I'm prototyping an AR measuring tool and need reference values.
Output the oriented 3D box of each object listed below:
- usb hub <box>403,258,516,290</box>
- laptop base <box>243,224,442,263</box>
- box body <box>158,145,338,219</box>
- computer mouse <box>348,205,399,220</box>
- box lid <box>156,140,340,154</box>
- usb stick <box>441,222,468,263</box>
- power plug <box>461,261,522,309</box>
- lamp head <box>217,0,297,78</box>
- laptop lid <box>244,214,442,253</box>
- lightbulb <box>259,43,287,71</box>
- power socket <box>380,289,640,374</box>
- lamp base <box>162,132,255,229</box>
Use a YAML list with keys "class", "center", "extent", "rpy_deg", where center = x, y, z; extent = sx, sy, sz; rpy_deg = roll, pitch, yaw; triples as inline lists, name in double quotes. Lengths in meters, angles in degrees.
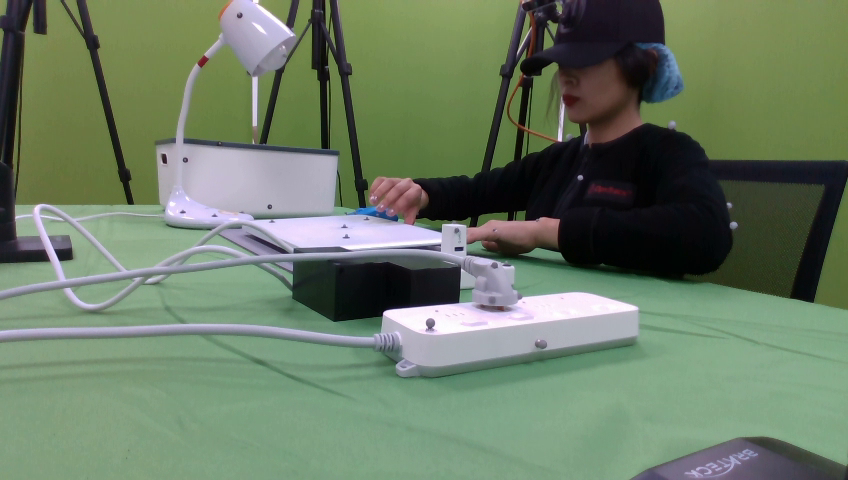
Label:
- class: "usb hub"
  center: [0.042, 0.038, 0.690]
  extent: [0.126, 0.025, 0.049]
  rpy_deg: [-2, 9, -30]
- class: "laptop base"
  center: [-0.126, 0.003, 0.946]
  extent: [0.237, 0.023, 0.352]
  rpy_deg: [1, 7, -31]
- class: "box body"
  center: [-0.410, -0.139, 1.414]
  extent: [0.366, 0.160, 0.253]
  rpy_deg: [-3, 8, -33]
- class: "computer mouse"
  center: [-0.114, -0.055, 1.337]
  extent: [0.117, 0.041, 0.062]
  rpy_deg: [-5, 11, -19]
- class: "box lid"
  center: [-0.409, -0.213, 1.404]
  extent: [0.373, 0.015, 0.262]
  rpy_deg: [-2, 8, -32]
- class: "usb stick"
  center: [0.034, 0.009, 0.685]
  extent: [0.021, 0.059, 0.027]
  rpy_deg: [-3, 10, -30]
- class: "power plug"
  center: [0.043, 0.043, 0.444]
  extent: [0.035, 0.052, 0.073]
  rpy_deg: [-5, 8, 44]
- class: "lamp head"
  center: [-0.315, -0.372, 1.102]
  extent: [0.123, 0.112, 0.112]
  rpy_deg: [41, 2, -9]
- class: "laptop lid"
  center: [-0.124, -0.017, 0.944]
  extent: [0.243, 0.013, 0.355]
  rpy_deg: [-4, 10, -28]
- class: "lightbulb"
  center: [-0.295, -0.357, 1.102]
  extent: [0.059, 0.107, 0.059]
  rpy_deg: [-37, 1, 1]
- class: "power socket"
  center: [0.072, 0.064, 0.461]
  extent: [0.228, 0.032, 0.072]
  rpy_deg: [-3, 7, -30]
- class: "lamp base"
  center: [-0.419, -0.116, 1.156]
  extent: [0.179, 0.180, 0.160]
  rpy_deg: [0, 7, 0]
